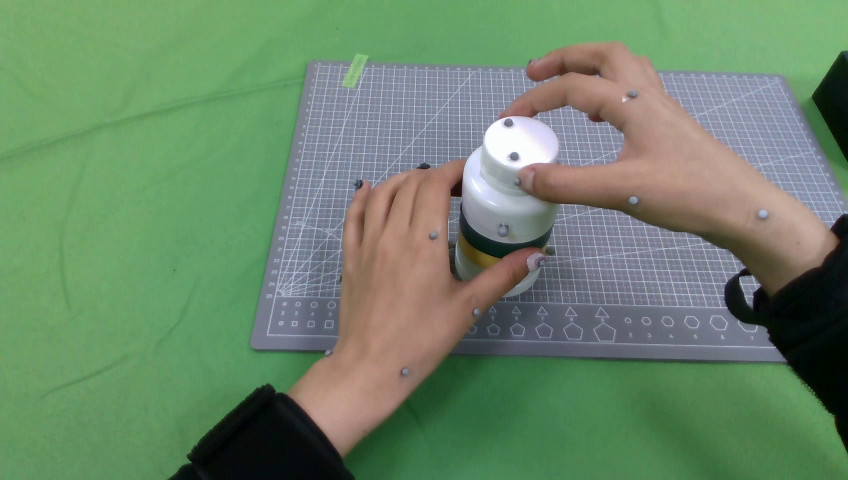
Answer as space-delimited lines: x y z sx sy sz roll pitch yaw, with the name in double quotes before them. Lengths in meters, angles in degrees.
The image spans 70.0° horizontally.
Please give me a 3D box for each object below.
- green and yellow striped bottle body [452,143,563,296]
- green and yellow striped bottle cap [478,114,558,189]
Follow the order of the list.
"green and yellow striped bottle body" 0.052 -0.020 0.392 0.063 0.120 0.062 1 54 -1
"green and yellow striped bottle cap" 0.054 -0.051 0.348 0.045 0.020 0.045 0 54 0
